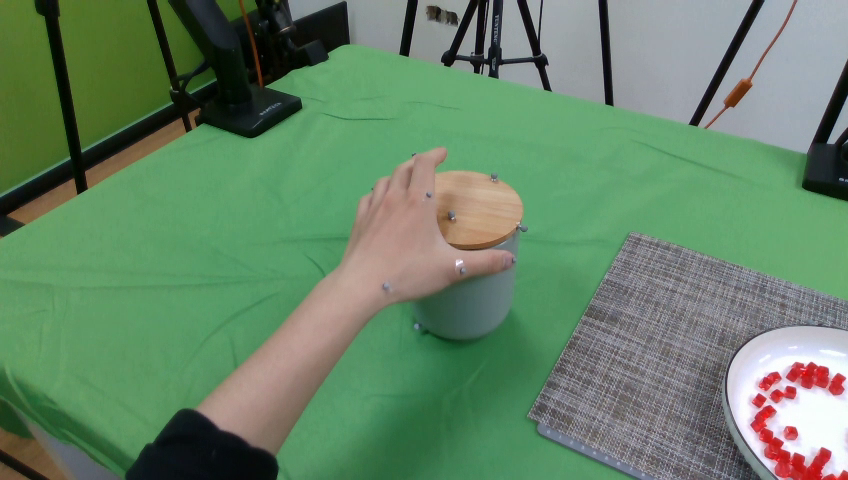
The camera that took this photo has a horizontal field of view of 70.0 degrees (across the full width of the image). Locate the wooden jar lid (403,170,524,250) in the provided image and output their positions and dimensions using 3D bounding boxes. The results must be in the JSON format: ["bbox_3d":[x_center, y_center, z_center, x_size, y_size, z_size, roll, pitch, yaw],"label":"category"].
[{"bbox_3d":[0.035,-0.025,0.545,0.108,0.021,0.107,2,41,-1],"label":"wooden jar lid"}]

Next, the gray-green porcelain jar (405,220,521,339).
[{"bbox_3d":[0.035,0.025,0.586,0.106,0.127,0.105,0,40,0],"label":"gray-green porcelain jar"}]

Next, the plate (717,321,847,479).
[{"bbox_3d":[0.346,0.155,0.493,0.208,0.039,0.205,0,40,0],"label":"plate"}]
